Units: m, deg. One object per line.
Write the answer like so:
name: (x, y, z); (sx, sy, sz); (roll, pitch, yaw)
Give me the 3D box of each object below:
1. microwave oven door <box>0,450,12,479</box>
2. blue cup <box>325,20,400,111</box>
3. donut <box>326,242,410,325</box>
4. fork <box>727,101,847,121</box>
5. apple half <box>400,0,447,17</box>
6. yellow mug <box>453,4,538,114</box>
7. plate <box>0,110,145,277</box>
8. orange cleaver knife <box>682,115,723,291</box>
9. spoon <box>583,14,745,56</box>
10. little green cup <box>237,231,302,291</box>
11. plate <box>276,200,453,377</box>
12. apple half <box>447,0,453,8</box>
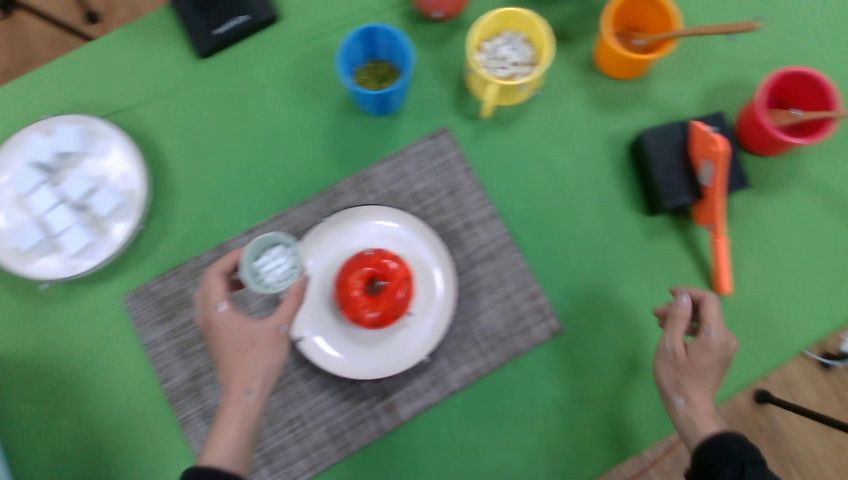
microwave oven door: (-0.443, 0.334, 0.558); (0.039, 0.244, 0.354); (-27, 81, -5)
blue cup: (-0.071, -0.202, 0.736); (0.093, 0.100, 0.092); (0, 82, -1)
donut: (-0.065, 0.051, 0.711); (0.099, 0.048, 0.098); (0, 81, 1)
fork: (0.463, -0.151, 0.706); (0.205, 0.019, 0.028); (12, 64, 45)
apple half: (-0.009, -0.321, 0.770); (0.053, 0.075, 0.080); (-24, 84, -1)
yellow mug: (0.083, -0.219, 0.757); (0.100, 0.064, 0.130); (18, 82, 2)
plate: (-0.444, -0.056, 0.744); (0.208, 0.039, 0.207); (0, 80, 0)
orange cleaver knife: (0.329, -0.042, 0.719); (0.012, 0.076, 0.212); (-15, 110, 0)
spoon: (0.277, -0.248, 0.720); (0.022, 0.192, 0.041); (27, 78, -40)
little green cup: (-0.155, 0.024, 0.620); (0.061, 0.039, 0.061); (-1, 81, 4)
plate: (-0.069, 0.056, 0.722); (0.209, 0.038, 0.208); (0, 80, 0)
apple half: (0.027, -0.338, 0.771); (0.033, 0.081, 0.081); (-23, 81, -1)
